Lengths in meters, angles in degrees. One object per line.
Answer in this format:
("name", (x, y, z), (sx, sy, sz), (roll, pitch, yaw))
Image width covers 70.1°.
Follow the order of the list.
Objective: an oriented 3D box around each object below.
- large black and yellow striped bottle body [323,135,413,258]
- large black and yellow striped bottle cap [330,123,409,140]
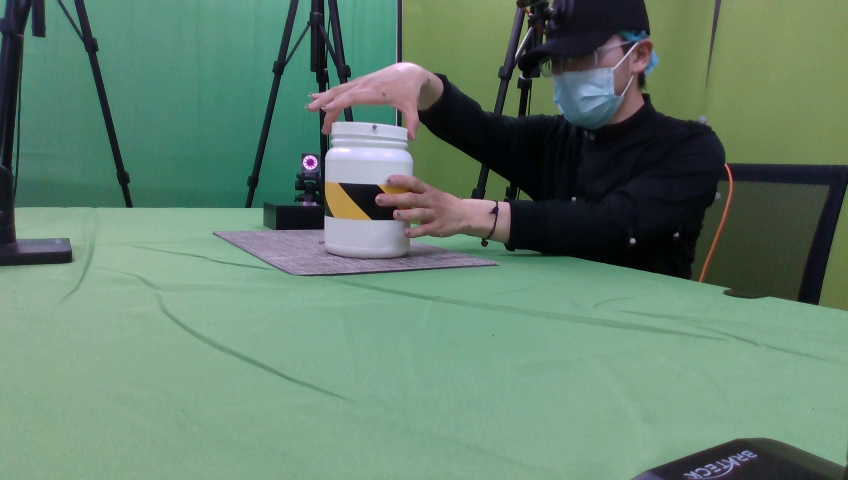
("large black and yellow striped bottle body", (-0.083, -0.073, 0.898), (0.131, 0.184, 0.130), (2, 7, 0))
("large black and yellow striped bottle cap", (-0.079, -0.159, 0.887), (0.115, 0.019, 0.115), (3, 7, 0))
